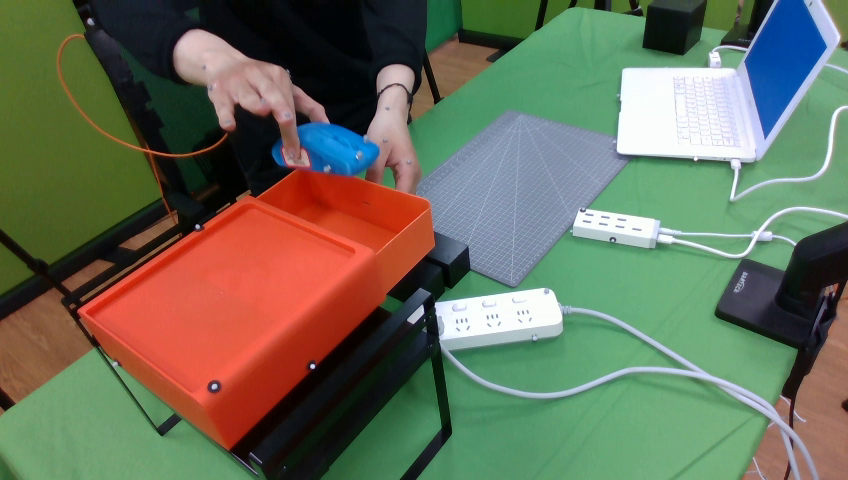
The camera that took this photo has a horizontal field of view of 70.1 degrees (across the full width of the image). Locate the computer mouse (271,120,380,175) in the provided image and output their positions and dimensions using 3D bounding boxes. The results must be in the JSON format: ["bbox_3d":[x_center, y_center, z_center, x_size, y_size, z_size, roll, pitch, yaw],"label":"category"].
[{"bbox_3d":[-0.109,-0.103,0.662,0.116,0.041,0.063,16,35,25],"label":"computer mouse"}]

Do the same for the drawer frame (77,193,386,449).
[{"bbox_3d":[-0.181,0.064,0.601,0.200,0.083,0.214,22,49,30],"label":"drawer frame"}]

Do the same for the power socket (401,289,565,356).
[{"bbox_3d":[0.081,0.112,0.822,0.227,0.033,0.072,-7,41,-1],"label":"power socket"}]

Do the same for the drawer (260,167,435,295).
[{"bbox_3d":[-0.126,0.012,0.658,0.193,0.073,0.212,22,49,30],"label":"drawer"}]

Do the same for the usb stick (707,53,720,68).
[{"bbox_3d":[0.629,-0.382,1.313,0.021,0.027,0.059,2,46,17],"label":"usb stick"}]

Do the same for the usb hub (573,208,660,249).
[{"bbox_3d":[0.302,-0.019,0.949,0.124,0.025,0.049,11,43,20],"label":"usb hub"}]

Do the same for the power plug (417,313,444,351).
[{"bbox_3d":[0.007,0.127,0.786,0.035,0.053,0.072,1,43,9],"label":"power plug"}]

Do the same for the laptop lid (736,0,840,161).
[{"bbox_3d":[0.641,-0.327,1.090,0.013,0.242,0.356,17,43,5],"label":"laptop lid"}]

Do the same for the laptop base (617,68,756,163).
[{"bbox_3d":[0.509,-0.255,1.201,0.234,0.023,0.353,4,41,16],"label":"laptop base"}]
